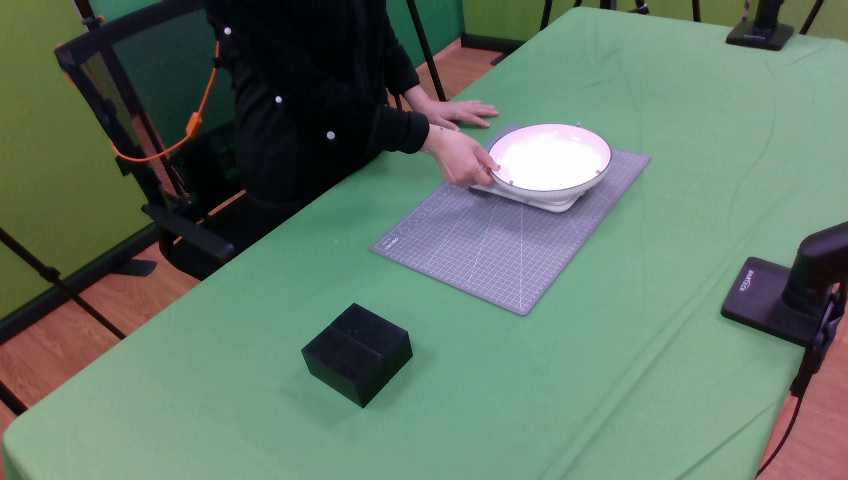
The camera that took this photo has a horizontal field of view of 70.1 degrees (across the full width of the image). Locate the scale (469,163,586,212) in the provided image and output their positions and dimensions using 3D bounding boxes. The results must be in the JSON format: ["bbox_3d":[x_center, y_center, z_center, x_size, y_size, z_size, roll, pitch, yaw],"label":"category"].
[{"bbox_3d":[0.194,-0.117,1.076,0.199,0.032,0.149,21,48,32],"label":"scale"}]

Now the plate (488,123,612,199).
[{"bbox_3d":[0.214,-0.132,1.037,0.209,0.038,0.208,-5,41,5],"label":"plate"}]
